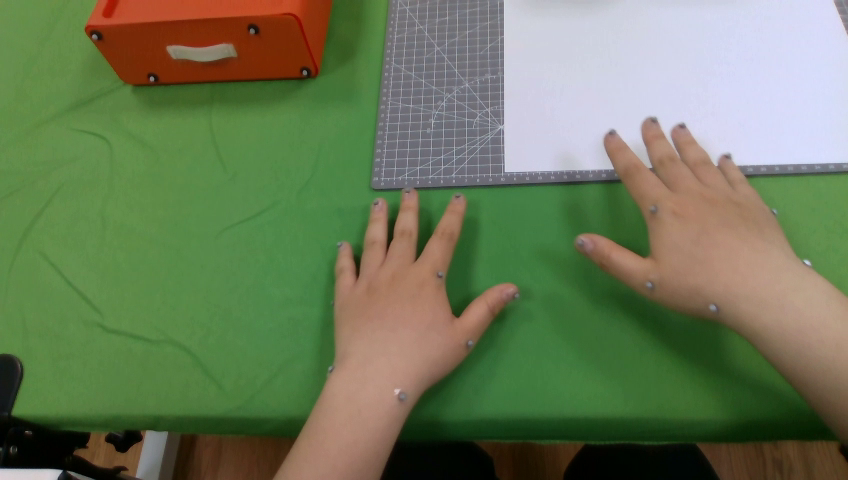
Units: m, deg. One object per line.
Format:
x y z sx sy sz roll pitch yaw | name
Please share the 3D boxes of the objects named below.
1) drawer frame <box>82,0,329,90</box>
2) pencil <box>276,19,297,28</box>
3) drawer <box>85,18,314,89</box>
-0.198 -0.254 0.603 0.201 0.083 0.211 -2 59 7 | drawer frame
-0.193 -0.240 0.630 0.192 0.012 0.012 24 66 26 | pencil
-0.197 -0.251 0.603 0.194 0.074 0.210 -1 59 8 | drawer
